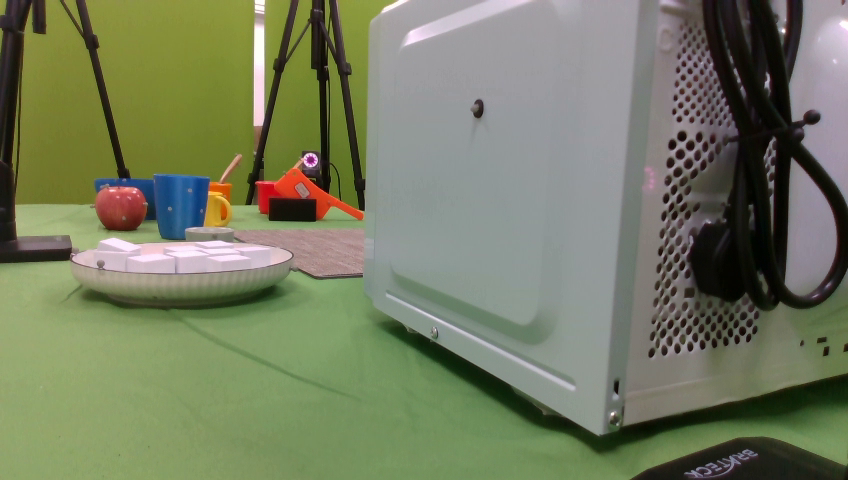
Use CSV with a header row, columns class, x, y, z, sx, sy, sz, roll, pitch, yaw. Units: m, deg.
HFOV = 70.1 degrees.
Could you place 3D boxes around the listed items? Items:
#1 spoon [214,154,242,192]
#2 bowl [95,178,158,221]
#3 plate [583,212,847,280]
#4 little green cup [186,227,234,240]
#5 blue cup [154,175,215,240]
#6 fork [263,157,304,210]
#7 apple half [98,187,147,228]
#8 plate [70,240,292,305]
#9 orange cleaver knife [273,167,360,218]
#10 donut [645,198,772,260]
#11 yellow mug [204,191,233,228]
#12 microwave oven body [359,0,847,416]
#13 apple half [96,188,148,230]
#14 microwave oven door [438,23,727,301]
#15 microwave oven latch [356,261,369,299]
class,x,y,z,sx,sy,sz,roll,pitch,yaw
spoon,-0.439,-0.124,1.318,0.041,0.193,0.022,6,-36,15
bowl,-0.576,-0.081,1.217,0.151,0.077,0.151,3,8,0
plate,0.239,0.002,0.510,0.209,0.038,0.209,2,7,0
little green cup,-0.284,0.005,0.805,0.061,0.038,0.061,2,8,0
blue cup,-0.391,-0.053,0.978,0.093,0.100,0.092,4,6,0
fork,-0.345,-0.143,1.505,0.028,0.019,0.207,-3,46,28
apple half,-0.534,-0.059,1.071,0.082,0.081,0.032,-1,11,-25
plate,-0.242,0.031,0.618,0.208,0.039,0.207,2,8,0
orange cleaver knife,-0.238,-0.091,1.381,0.212,0.077,0.012,31,0,-19
donut,0.239,-0.008,0.513,0.099,0.048,0.099,10,1,0
yellow mug,-0.415,-0.057,1.131,0.130,0.064,0.100,6,8,16
microwave oven body,0.211,-0.047,0.474,0.444,0.260,0.324,-1,7,-28
apple half,-0.517,-0.052,1.036,0.081,0.074,0.053,2,10,-26
microwave oven door,0.181,-0.072,0.621,0.358,0.243,0.039,-2,8,-29
microwave oven latch,-0.019,0.034,0.528,0.079,0.029,0.030,0,7,-22
